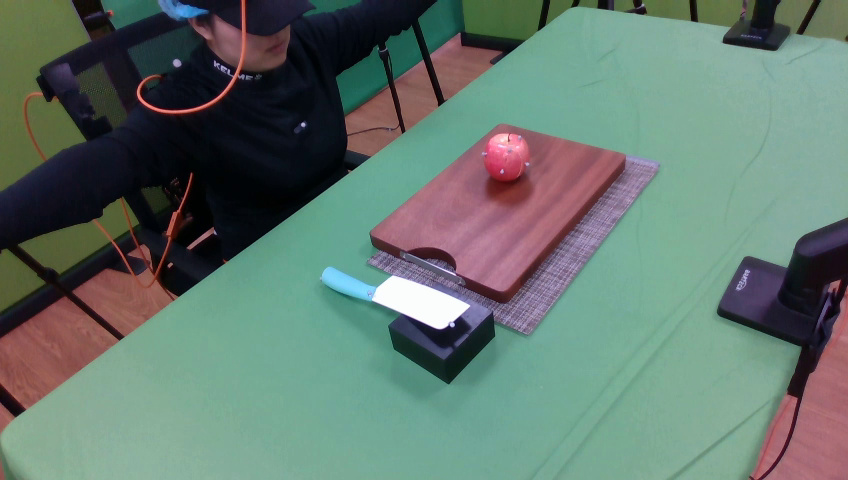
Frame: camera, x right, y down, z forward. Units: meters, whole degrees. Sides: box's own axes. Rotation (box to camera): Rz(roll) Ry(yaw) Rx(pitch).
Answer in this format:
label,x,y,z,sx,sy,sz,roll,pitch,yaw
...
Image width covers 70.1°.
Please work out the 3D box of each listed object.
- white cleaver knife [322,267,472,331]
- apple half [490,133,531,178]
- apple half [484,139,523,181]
label,x,y,z,sx,sy,sz,roll,pitch,yaw
white cleaver knife,-0.048,0.076,0.867,0.284,0.021,0.066,16,40,43
apple half,0.153,-0.150,1.051,0.080,0.075,0.053,21,44,35
apple half,0.128,-0.129,1.029,0.080,0.081,0.033,22,45,32
